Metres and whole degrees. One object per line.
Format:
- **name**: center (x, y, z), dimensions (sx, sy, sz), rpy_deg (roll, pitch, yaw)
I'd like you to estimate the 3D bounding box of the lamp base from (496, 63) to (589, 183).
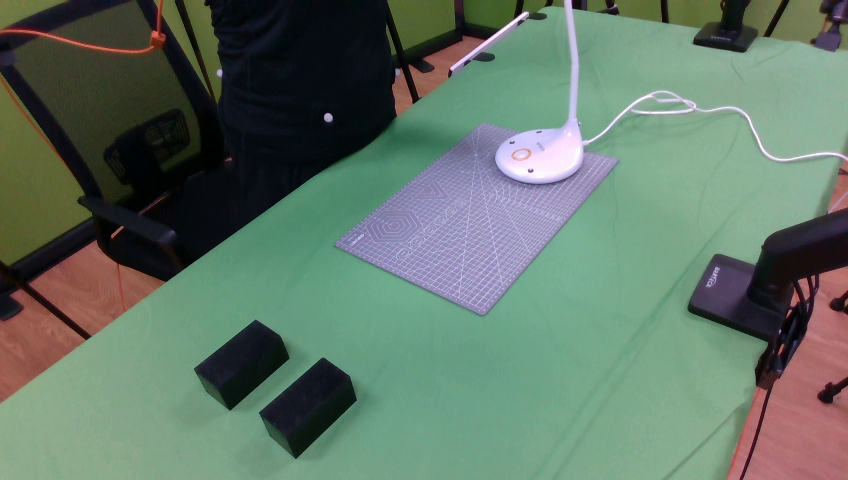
- **lamp base**: center (0.216, -0.217, 1.067), dimensions (0.180, 0.181, 0.159), rpy_deg (-19, 42, -18)
